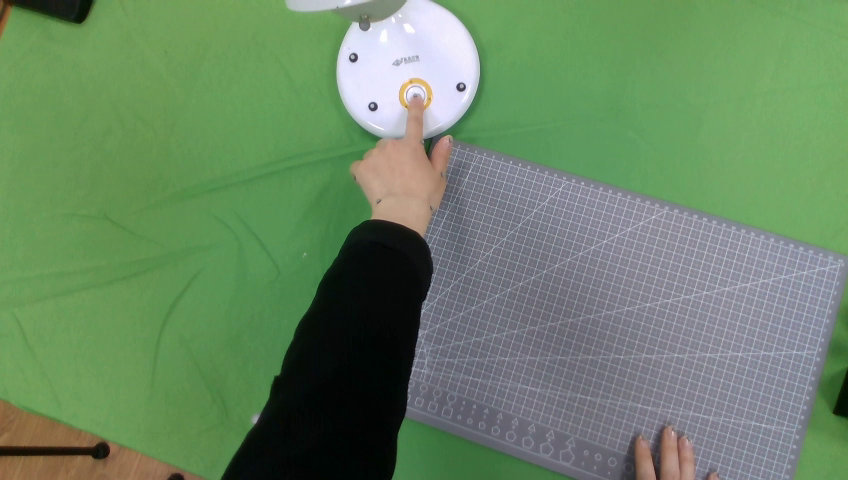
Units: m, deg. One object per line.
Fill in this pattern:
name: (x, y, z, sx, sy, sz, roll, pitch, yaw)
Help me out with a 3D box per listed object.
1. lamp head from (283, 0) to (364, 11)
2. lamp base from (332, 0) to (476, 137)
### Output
lamp head: (-0.039, -0.195, 0.311, 0.112, 0.111, 0.124, -15, 118, 3)
lamp base: (-0.035, -0.213, 0.598, 0.160, 0.181, 0.178, -24, 79, 1)
